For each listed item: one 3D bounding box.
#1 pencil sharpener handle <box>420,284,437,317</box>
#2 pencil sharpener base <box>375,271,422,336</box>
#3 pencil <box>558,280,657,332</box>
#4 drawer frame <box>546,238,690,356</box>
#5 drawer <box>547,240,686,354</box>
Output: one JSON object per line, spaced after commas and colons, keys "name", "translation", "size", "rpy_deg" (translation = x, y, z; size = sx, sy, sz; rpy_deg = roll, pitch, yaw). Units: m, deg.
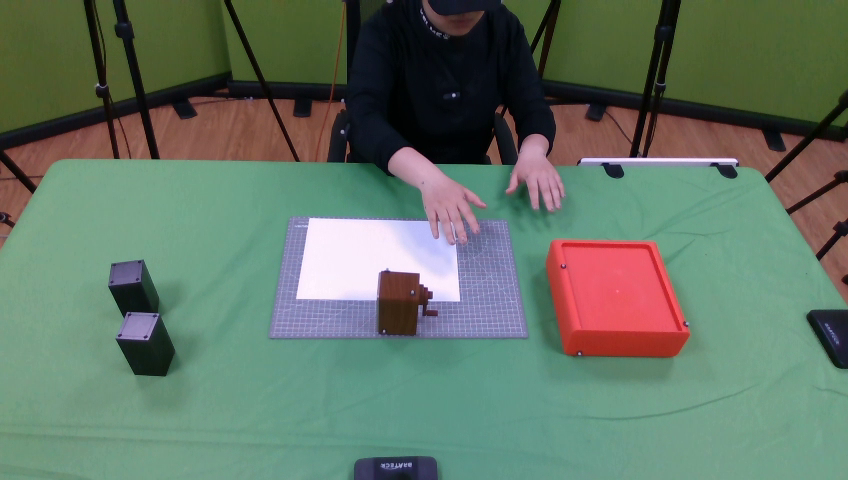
{"name": "pencil sharpener handle", "translation": [0.009, 0.104, 1.017], "size": [0.030, 0.068, 0.036], "rpy_deg": [3, 39, -2]}
{"name": "pencil sharpener base", "translation": [-0.043, 0.109, 1.025], "size": [0.077, 0.107, 0.061], "rpy_deg": [3, 45, -2]}
{"name": "pencil", "translation": [0.334, 0.121, 1.105], "size": [0.193, 0.012, 0.012], "rpy_deg": [27, 49, 14]}
{"name": "drawer frame", "translation": [0.337, 0.098, 1.084], "size": [0.202, 0.083, 0.212], "rpy_deg": [1, 46, -4]}
{"name": "drawer", "translation": [0.336, 0.098, 1.087], "size": [0.194, 0.073, 0.210], "rpy_deg": [2, 47, -3]}
